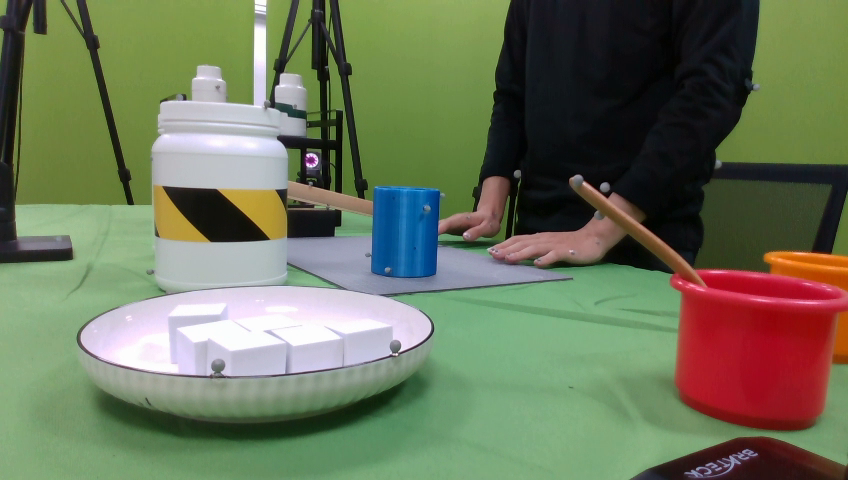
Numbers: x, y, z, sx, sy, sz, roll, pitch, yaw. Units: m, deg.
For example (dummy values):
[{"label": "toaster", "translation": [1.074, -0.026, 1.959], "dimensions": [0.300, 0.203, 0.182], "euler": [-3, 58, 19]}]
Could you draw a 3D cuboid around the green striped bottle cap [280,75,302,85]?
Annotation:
[{"label": "green striped bottle cap", "translation": [-0.267, -0.320, 1.216], "dimensions": [0.044, 0.020, 0.044], "euler": [3, 8, 0]}]

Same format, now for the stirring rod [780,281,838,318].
[{"label": "stirring rod", "translation": [0.344, 0.019, 0.461], "dimensions": [0.014, 0.006, 0.176], "euler": [-14, -26, -31]}]

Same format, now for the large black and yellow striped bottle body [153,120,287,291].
[{"label": "large black and yellow striped bottle body", "translation": [-0.208, -0.042, 0.626], "dimensions": [0.131, 0.184, 0.130], "euler": [2, 7, 0]}]

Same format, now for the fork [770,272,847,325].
[{"label": "fork", "translation": [0.331, 0.018, 0.443], "dimensions": [0.028, 0.018, 0.207], "euler": [0, -36, -15]}]

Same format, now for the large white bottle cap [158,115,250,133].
[{"label": "large white bottle cap", "translation": [-0.291, -0.153, 0.803], "dimensions": [0.115, 0.018, 0.115], "euler": [1, 7, 0]}]

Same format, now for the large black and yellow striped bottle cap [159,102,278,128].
[{"label": "large black and yellow striped bottle cap", "translation": [-0.207, -0.125, 0.615], "dimensions": [0.115, 0.019, 0.115], "euler": [2, 6, 0]}]

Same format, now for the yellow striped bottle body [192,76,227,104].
[{"label": "yellow striped bottle body", "translation": [-0.414, -0.268, 1.169], "dimensions": [0.063, 0.120, 0.063], "euler": [2, 7, 0]}]

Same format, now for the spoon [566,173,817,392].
[{"label": "spoon", "translation": [0.161, 0.024, 0.370], "dimensions": [0.193, 0.021, 0.042], "euler": [47, 18, 3]}]

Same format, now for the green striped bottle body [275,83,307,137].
[{"label": "green striped bottle body", "translation": [-0.269, -0.269, 1.221], "dimensions": [0.063, 0.119, 0.063], "euler": [2, 7, 0]}]

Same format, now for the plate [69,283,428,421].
[{"label": "plate", "translation": [-0.102, 0.066, 0.381], "dimensions": [0.208, 0.039, 0.207], "euler": [2, 7, 0]}]

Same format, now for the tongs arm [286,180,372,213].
[{"label": "tongs arm", "translation": [-0.122, -0.066, 1.147], "dimensions": [0.387, 0.026, 0.050], "euler": [11, -2, -37]}]

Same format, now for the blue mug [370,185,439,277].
[{"label": "blue mug", "translation": [-0.025, -0.016, 0.761], "dimensions": [0.082, 0.106, 0.116], "euler": [2, 7, -2]}]

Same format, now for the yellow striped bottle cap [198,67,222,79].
[{"label": "yellow striped bottle cap", "translation": [-0.412, -0.320, 1.163], "dimensions": [0.044, 0.018, 0.044], "euler": [0, 6, 0]}]

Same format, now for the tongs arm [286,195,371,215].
[{"label": "tongs arm", "translation": [-0.165, -0.075, 1.216], "dimensions": [0.389, 0.027, 0.028], "euler": [11, -6, -24]}]

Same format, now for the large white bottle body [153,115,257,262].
[{"label": "large white bottle body", "translation": [-0.293, -0.070, 0.813], "dimensions": [0.131, 0.184, 0.130], "euler": [2, 7, 0]}]
